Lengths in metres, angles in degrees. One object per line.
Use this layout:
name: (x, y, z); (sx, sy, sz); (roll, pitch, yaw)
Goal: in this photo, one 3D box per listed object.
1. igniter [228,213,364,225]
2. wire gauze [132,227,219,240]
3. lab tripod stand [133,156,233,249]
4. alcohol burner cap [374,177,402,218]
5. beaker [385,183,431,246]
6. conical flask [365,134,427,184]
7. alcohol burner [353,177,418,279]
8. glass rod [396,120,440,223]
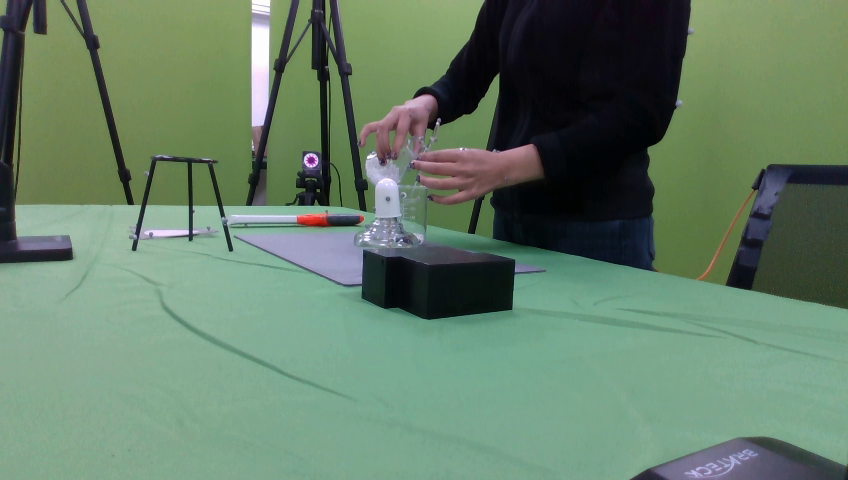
igniter: (-0.252, -0.043, 1.227); (0.278, 0.025, 0.057); (-2, -3, -32)
wire gauze: (-0.421, -0.014, 1.024); (0.122, 0.011, 0.124); (-2, 7, -34)
lab tripod stand: (-0.342, -0.054, 0.878); (0.148, 0.131, 0.148); (4, 6, 0)
alcohol burner cap: (-0.044, -0.049, 0.704); (0.034, 0.048, 0.034); (-4, 10, 1)
beaker: (-0.031, -0.043, 1.000); (0.084, 0.100, 0.074); (4, 7, 15)
conical flask: (-0.043, -0.139, 1.027); (0.076, 0.075, 0.121); (-3, -12, -35)
alcohol burner: (-0.044, -0.014, 0.710); (0.078, 0.119, 0.078); (4, 9, 0)
glass rod: (-0.011, -0.106, 0.977); (0.008, 0.199, 0.008); (16, 34, -11)
